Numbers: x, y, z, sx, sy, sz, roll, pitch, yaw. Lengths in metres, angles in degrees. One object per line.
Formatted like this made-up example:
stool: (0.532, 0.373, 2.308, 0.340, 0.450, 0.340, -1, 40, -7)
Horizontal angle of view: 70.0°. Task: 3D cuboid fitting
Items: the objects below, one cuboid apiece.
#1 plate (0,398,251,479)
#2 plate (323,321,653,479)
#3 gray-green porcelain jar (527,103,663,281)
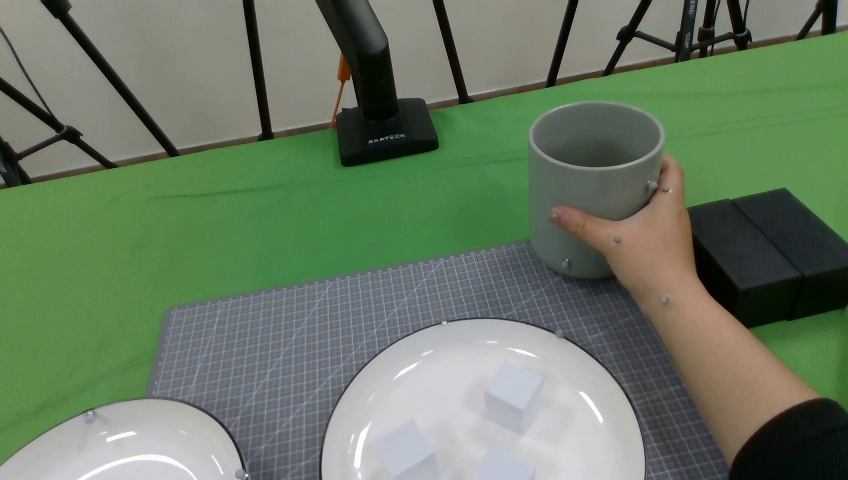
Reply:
plate: (-0.207, 0.197, 0.381, 0.209, 0.038, 0.207, -6, 41, 6)
plate: (0.040, 0.142, 0.401, 0.207, 0.039, 0.205, -5, 40, 5)
gray-green porcelain jar: (0.142, -0.036, 0.521, 0.106, 0.128, 0.105, -5, 41, 5)
